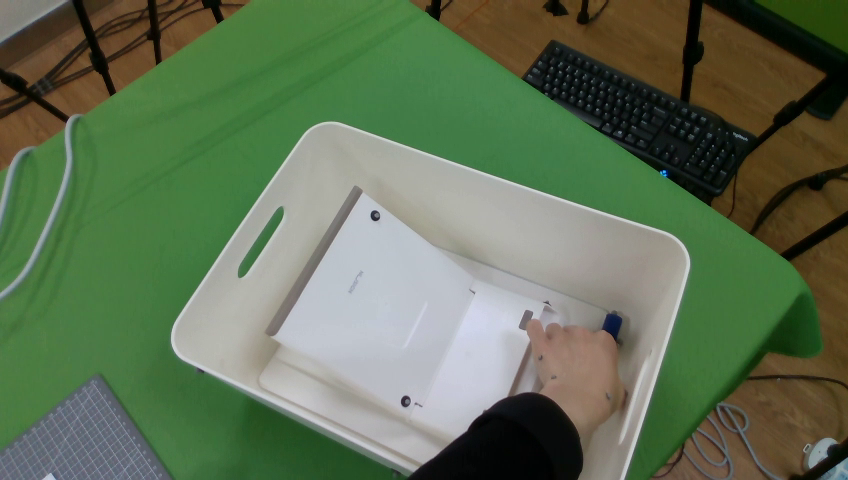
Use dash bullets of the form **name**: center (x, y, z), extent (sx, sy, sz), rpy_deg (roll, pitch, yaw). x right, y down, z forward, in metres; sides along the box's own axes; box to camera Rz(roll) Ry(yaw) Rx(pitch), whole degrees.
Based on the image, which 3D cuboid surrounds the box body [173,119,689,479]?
- **box body**: center (0.011, 0.077, 0.555), extent (0.362, 0.162, 0.253), rpy_deg (20, 66, 15)

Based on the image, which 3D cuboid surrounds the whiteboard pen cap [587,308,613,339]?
- **whiteboard pen cap**: center (0.179, 0.087, 0.619), extent (0.018, 0.018, 0.033), rpy_deg (23, 67, 17)

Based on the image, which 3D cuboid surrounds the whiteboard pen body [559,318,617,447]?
- **whiteboard pen body**: center (0.164, 0.135, 0.593), extent (0.017, 0.017, 0.140), rpy_deg (23, 66, 17)

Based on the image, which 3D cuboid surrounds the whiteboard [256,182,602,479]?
- **whiteboard**: center (0.002, 0.075, 0.570), extent (0.304, 0.145, 0.216), rpy_deg (19, 63, 15)
